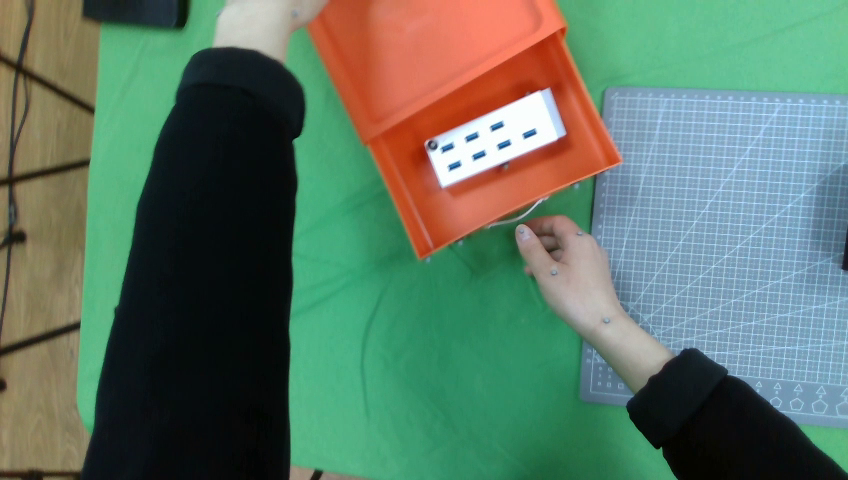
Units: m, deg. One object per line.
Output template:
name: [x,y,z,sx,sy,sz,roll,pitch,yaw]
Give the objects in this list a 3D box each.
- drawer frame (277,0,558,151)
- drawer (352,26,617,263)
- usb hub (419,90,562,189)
drawer frame: [-0.018,-0.218,0.550,0.201,0.083,0.213,-29,88,10]
drawer: [0.037,-0.113,0.551,0.194,0.073,0.211,-26,90,11]
usb hub: [0.061,-0.093,0.564,0.125,0.025,0.049,-20,100,18]
